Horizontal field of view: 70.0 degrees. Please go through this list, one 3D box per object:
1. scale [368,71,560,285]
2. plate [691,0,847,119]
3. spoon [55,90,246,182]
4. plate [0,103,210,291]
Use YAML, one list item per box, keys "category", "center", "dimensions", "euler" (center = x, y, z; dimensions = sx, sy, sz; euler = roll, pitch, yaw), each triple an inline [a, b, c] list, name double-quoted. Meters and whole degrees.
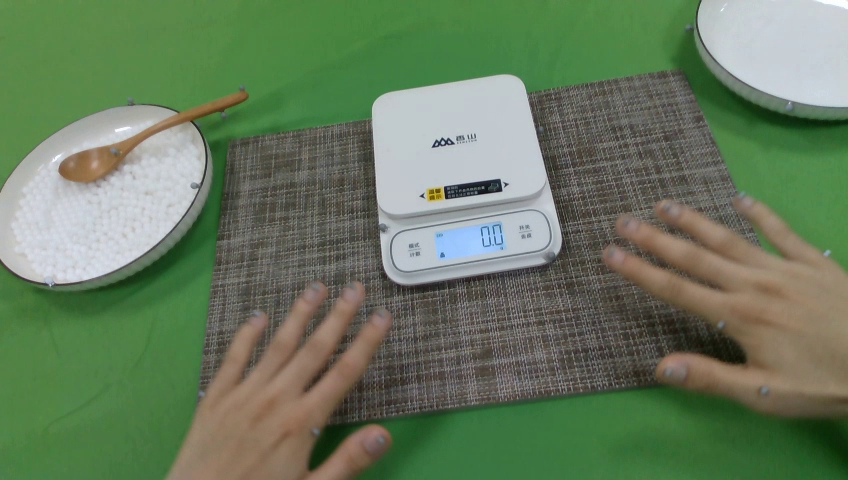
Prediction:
- category: "scale"
  center: [0.028, -0.061, 0.531]
  dimensions: [0.148, 0.032, 0.199]
  euler: [-9, 58, 4]
- category: "plate"
  center: [0.354, -0.186, 0.559]
  dimensions: [0.207, 0.039, 0.205]
  euler: [-4, 58, 7]
- category: "spoon"
  center: [-0.262, -0.103, 0.584]
  dimensions: [0.194, 0.022, 0.041]
  euler: [-25, 58, 2]
- category: "plate"
  center: [-0.299, -0.041, 0.570]
  dimensions: [0.209, 0.038, 0.207]
  euler: [-3, 58, 6]
